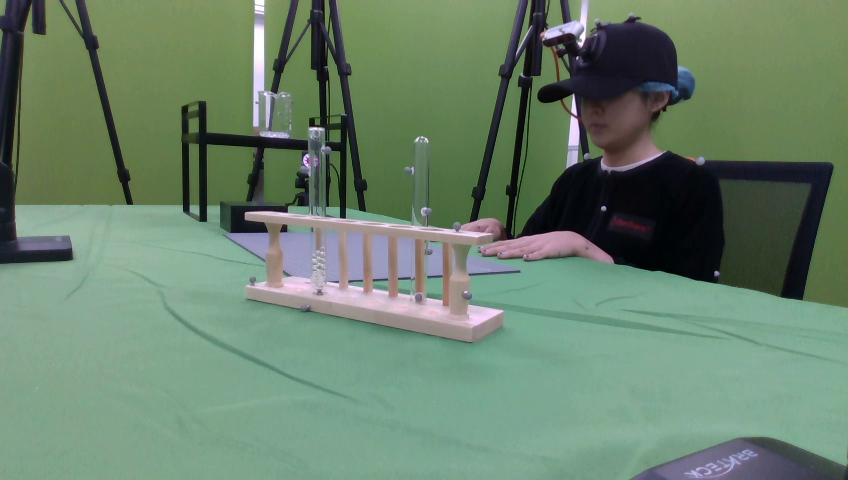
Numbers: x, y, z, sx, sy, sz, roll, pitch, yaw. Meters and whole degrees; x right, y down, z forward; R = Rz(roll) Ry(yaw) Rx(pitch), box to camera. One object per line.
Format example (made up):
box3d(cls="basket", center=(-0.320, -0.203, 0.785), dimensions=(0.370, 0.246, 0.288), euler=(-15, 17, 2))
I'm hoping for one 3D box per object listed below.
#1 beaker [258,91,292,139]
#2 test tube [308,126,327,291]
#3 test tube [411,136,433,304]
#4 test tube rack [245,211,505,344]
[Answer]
box3d(cls="beaker", center=(-0.331, -0.276, 1.343), dimensions=(0.074, 0.100, 0.083), euler=(0, 8, -20))
box3d(cls="test tube", center=(-0.096, -0.028, 0.549), dimensions=(0.017, 0.150, 0.017), euler=(1, 7, 0))
box3d(cls="test tube", center=(-0.002, -0.017, 0.538), dimensions=(0.017, 0.150, 0.017), euler=(2, 7, 0))
box3d(cls="test tube rack", center=(-0.049, 0.025, 0.547), dimensions=(0.241, 0.085, 0.067), euler=(7, 8, 28))
